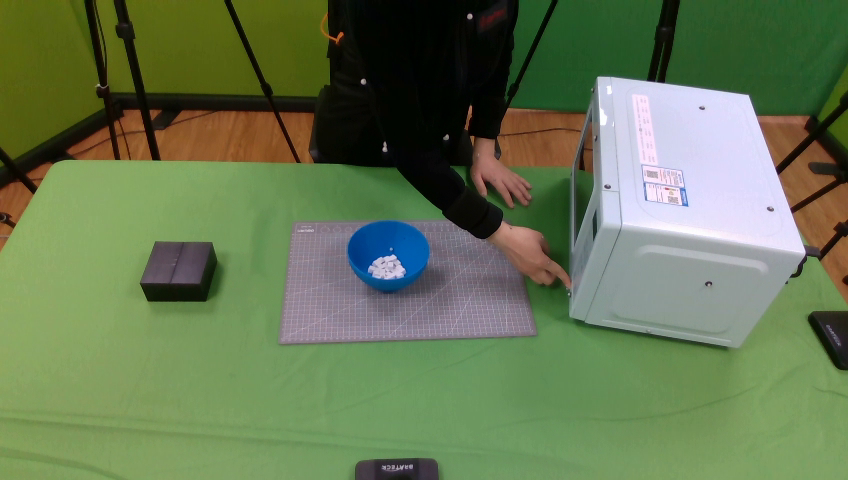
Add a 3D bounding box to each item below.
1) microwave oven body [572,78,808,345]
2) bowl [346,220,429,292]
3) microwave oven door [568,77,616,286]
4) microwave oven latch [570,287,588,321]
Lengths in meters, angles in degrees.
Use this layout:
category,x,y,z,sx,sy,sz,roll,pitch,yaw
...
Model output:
category,x,y,z,sx,sy,sz,roll,pitch,yaw
microwave oven body,0.456,-0.063,1.124,0.326,0.261,0.439,8,45,5
bowl,-0.067,0.042,1.111,0.151,0.077,0.150,3,45,-2
microwave oven door,0.320,-0.119,1.161,0.039,0.245,0.354,9,46,5
microwave oven latch,0.277,0.106,1.082,0.030,0.029,0.079,11,46,7
